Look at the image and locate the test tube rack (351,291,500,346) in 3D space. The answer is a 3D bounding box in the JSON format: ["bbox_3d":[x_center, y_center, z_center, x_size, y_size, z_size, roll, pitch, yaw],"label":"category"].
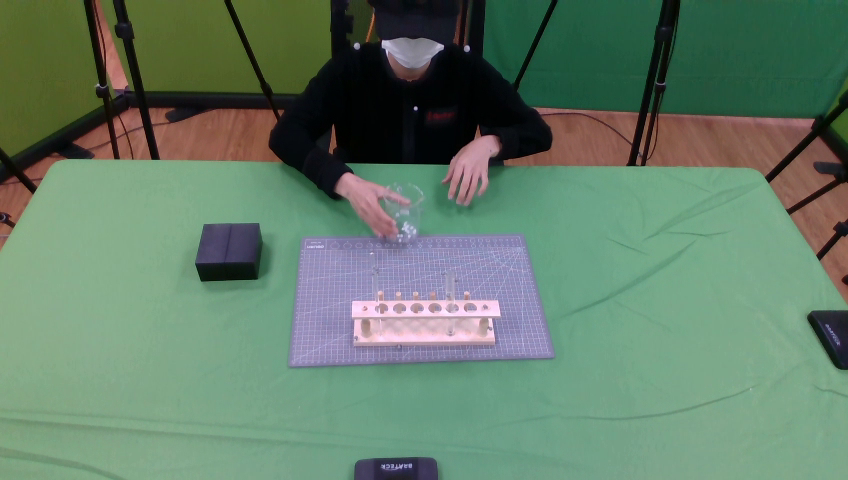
[{"bbox_3d":[0.000,0.129,1.026,0.242,0.085,0.066,0,46,-4],"label":"test tube rack"}]

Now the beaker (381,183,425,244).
[{"bbox_3d":[-0.042,-0.049,1.174,0.084,0.101,0.073,0,44,-5],"label":"beaker"}]

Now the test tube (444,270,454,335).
[{"bbox_3d":[0.041,0.105,0.983,0.017,0.151,0.017,-1,44,1],"label":"test tube"}]

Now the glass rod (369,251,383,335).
[{"bbox_3d":[-0.075,0.090,0.965,0.008,0.201,0.008,-1,44,1],"label":"glass rod"}]
